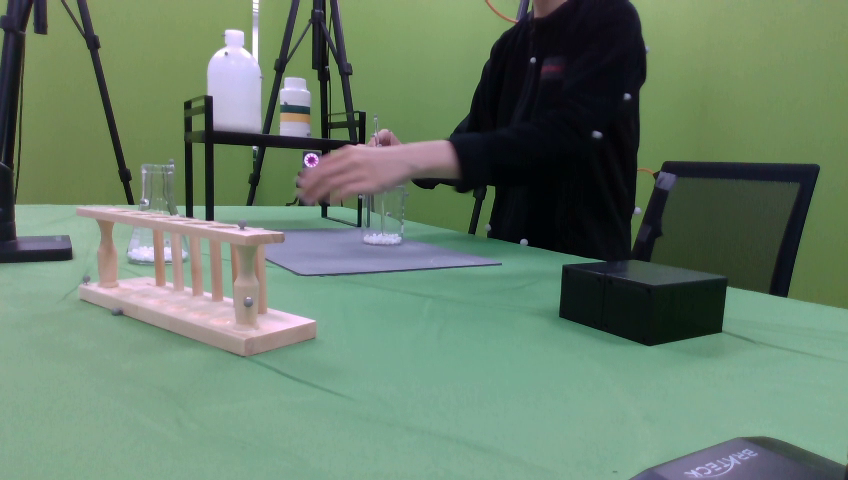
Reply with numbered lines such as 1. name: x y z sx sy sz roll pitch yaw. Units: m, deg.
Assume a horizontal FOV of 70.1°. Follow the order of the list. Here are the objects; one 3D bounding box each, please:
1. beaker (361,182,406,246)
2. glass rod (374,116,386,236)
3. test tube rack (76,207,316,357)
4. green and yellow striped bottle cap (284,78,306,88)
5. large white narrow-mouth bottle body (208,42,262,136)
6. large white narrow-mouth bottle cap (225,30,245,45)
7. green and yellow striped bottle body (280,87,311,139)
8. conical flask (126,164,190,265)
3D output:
1. beaker: -0.067 -0.042 0.993 0.074 0.100 0.084 1 8 -8
2. glass rod: -0.073 -0.105 0.997 0.008 0.199 0.008 -4 -2 0
3. test tube rack: -0.196 0.023 0.500 0.241 0.085 0.067 8 9 36
4. green and yellow striped bottle cap: -0.268 -0.325 1.259 0.045 0.020 0.045 5 8 0
5. large white narrow-mouth bottle body: -0.368 -0.304 1.181 0.102 0.194 0.101 2 9 0
6. large white narrow-mouth bottle cap: -0.365 -0.390 1.166 0.038 0.024 0.037 3 9 0
7. green and yellow striped bottle body: -0.269 -0.274 1.266 0.063 0.119 0.063 3 7 0
8. conical flask: -0.332 -0.033 0.756 0.075 0.122 0.075 2 7 0
